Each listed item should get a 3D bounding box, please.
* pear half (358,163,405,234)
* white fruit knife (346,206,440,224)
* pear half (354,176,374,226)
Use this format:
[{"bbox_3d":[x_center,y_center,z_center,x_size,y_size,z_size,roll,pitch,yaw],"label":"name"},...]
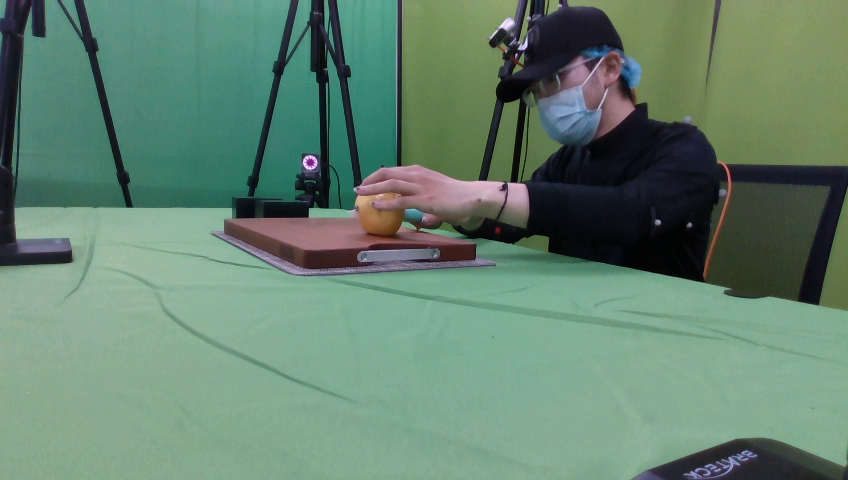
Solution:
[{"bbox_3d":[-0.058,-0.063,0.927,0.055,0.110,0.077,8,13,38],"label":"pear half"},{"bbox_3d":[-0.045,-0.043,0.980,0.016,0.027,0.208,7,4,42],"label":"white fruit knife"},{"bbox_3d":[-0.087,-0.057,0.954,0.031,0.088,0.071,3,12,38],"label":"pear half"}]
